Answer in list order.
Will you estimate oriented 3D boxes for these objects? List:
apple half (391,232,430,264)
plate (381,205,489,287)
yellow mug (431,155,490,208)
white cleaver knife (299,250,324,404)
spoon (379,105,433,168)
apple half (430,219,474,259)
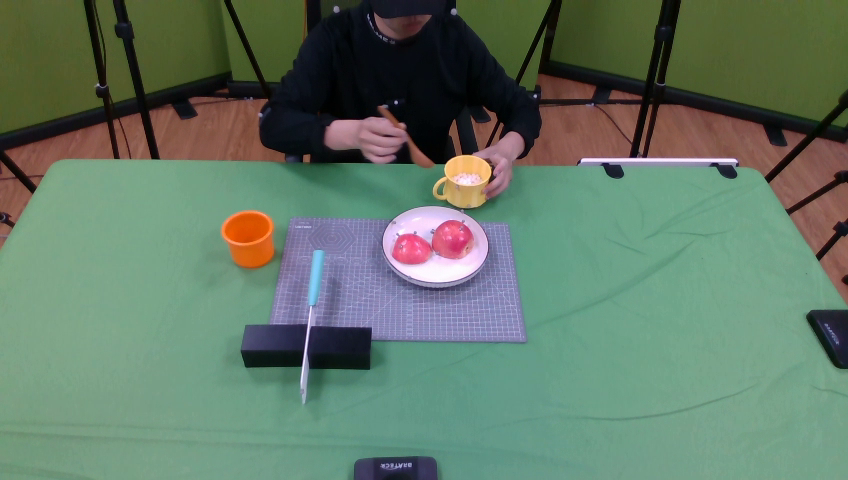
[{"bbox_3d":[-0.024,0.009,1.163,0.081,0.033,0.081,2,43,-2],"label":"apple half"},{"bbox_3d":[0.021,0.015,1.170,0.209,0.038,0.208,2,46,-2],"label":"plate"},{"bbox_3d":[0.075,-0.120,1.276,0.131,0.064,0.099,-20,49,-17],"label":"yellow mug"},{"bbox_3d":[-0.194,0.134,1.019,0.021,0.066,0.284,5,50,-5],"label":"white cleaver knife"},{"bbox_3d":[-0.035,-0.191,1.141,0.041,0.195,0.021,7,62,34],"label":"spoon"},{"bbox_3d":[0.056,-0.008,1.172,0.081,0.053,0.074,-34,59,-31],"label":"apple half"}]
